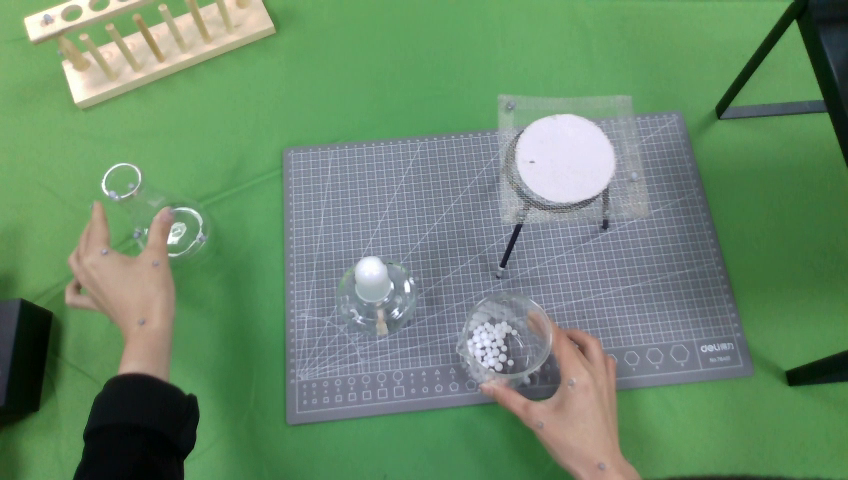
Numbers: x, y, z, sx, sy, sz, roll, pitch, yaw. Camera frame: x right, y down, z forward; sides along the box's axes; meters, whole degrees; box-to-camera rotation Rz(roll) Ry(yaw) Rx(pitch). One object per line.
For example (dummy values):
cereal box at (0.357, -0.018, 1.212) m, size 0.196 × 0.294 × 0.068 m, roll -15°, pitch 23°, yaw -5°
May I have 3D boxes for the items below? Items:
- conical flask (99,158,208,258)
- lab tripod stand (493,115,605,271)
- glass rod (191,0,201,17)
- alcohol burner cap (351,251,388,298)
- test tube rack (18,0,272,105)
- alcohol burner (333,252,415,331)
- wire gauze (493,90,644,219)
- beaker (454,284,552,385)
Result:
conical flask at (-0.267, -0.035, 0.590) m, size 0.075 × 0.122 × 0.075 m, roll 0°, pitch 69°, yaw 1°
lab tripod stand at (0.116, -0.048, 0.581) m, size 0.148 × 0.132 × 0.147 m, roll 0°, pitch 68°, yaw 0°
glass rod at (-0.264, -0.308, 0.639) m, size 0.008 × 0.201 × 0.008 m, roll 1°, pitch 67°, yaw -3°
alcohol burner cap at (-0.049, 0.027, 0.527) m, size 0.034 × 0.048 × 0.033 m, roll 1°, pitch 62°, yaw -1°
test tube rack at (-0.307, -0.248, 0.688) m, size 0.242 × 0.086 × 0.066 m, roll -25°, pitch 71°, yaw -8°
alcohol burner at (-0.047, 0.042, 0.560) m, size 0.078 × 0.120 × 0.077 m, roll 0°, pitch 68°, yaw -1°
wire gauze at (0.122, -0.077, 0.519) m, size 0.121 × 0.011 × 0.124 m, roll 0°, pitch 70°, yaw -1°
beaker at (0.067, 0.092, 0.548) m, size 0.084 × 0.101 × 0.073 m, roll -16°, pitch 69°, yaw -4°
